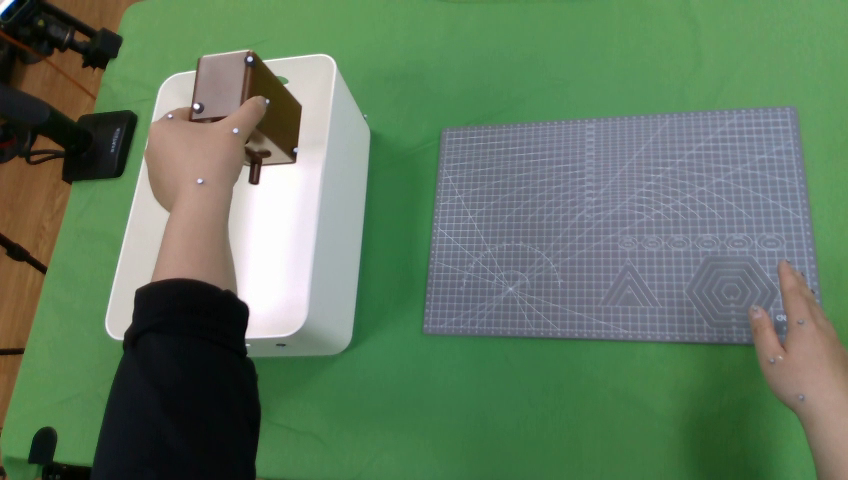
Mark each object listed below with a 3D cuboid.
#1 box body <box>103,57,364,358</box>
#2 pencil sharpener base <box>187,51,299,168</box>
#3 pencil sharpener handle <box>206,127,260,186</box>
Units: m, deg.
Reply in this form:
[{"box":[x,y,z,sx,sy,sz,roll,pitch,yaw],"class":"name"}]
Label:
[{"box":[-0.224,-0.031,0.793,0.253,0.162,0.361,-3,69,14],"class":"box body"},{"box":[-0.174,-0.122,0.596,0.061,0.108,0.076,-3,72,14],"class":"pencil sharpener base"},{"box":[-0.177,-0.077,0.570,0.036,0.068,0.030,-5,72,21],"class":"pencil sharpener handle"}]
